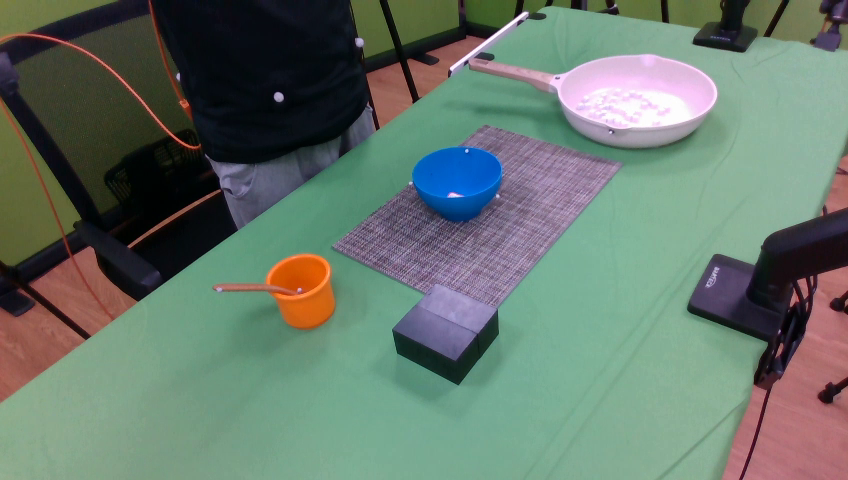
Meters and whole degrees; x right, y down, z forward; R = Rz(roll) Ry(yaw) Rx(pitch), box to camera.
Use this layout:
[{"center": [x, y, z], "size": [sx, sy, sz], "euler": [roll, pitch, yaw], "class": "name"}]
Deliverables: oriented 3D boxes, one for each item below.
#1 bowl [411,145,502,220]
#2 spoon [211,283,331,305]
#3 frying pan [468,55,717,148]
[{"center": [0.057, -0.086, 1.010], "size": [0.151, 0.077, 0.150], "euler": [-4, 41, 4], "class": "bowl"}, {"center": [-0.201, 0.069, 0.819], "size": [0.041, 0.195, 0.021], "euler": [32, 99, 37], "class": "spoon"}, {"center": [0.316, -0.304, 1.213], "size": [0.485, 0.103, 0.307], "euler": [20, 46, 17], "class": "frying pan"}]
